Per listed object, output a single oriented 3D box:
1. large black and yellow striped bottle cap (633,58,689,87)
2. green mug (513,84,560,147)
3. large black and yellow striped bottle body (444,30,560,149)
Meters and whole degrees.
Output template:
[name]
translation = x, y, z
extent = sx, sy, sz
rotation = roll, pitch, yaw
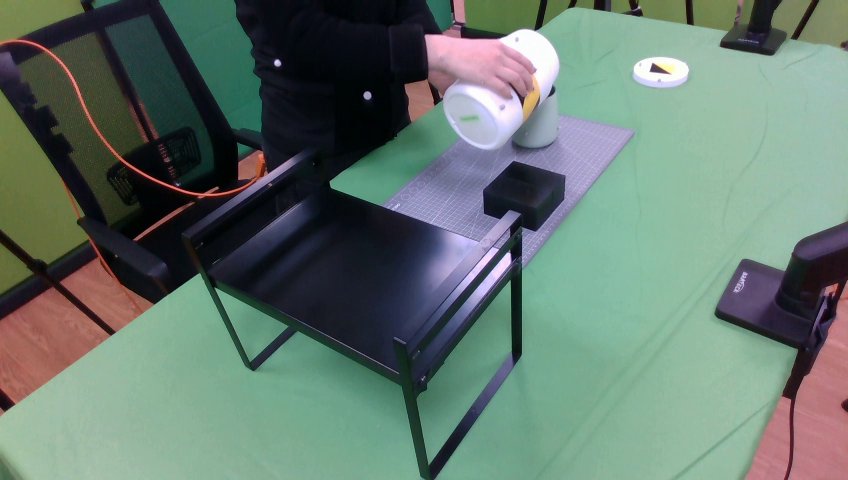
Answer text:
[large black and yellow striped bottle cap]
translation = 0.521, -0.370, 1.332
extent = 0.115, 0.019, 0.114
rotation = -3, 41, 3
[green mug]
translation = 0.217, -0.251, 1.169
extent = 0.092, 0.105, 0.125
rotation = 2, 41, 12
[large black and yellow striped bottle body]
translation = 0.136, -0.258, 1.026
extent = 0.129, 0.131, 0.184
rotation = 27, 64, 33
